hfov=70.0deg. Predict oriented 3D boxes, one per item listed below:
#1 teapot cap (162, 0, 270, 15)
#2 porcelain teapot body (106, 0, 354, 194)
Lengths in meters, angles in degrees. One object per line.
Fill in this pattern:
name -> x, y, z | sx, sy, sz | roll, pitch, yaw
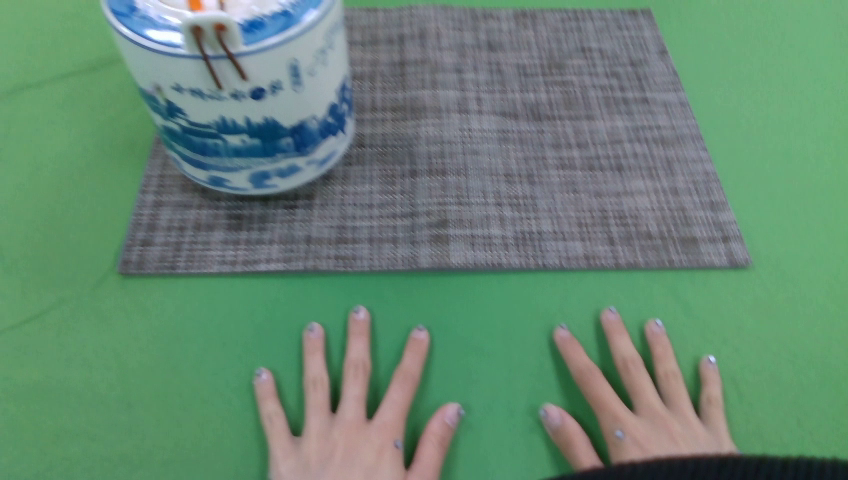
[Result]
teapot cap -> -0.124, -0.166, 0.365 | 0.085, 0.044, 0.084 | 0, 54, 0
porcelain teapot body -> -0.128, -0.168, 0.414 | 0.145, 0.227, 0.203 | -6, 56, -6
